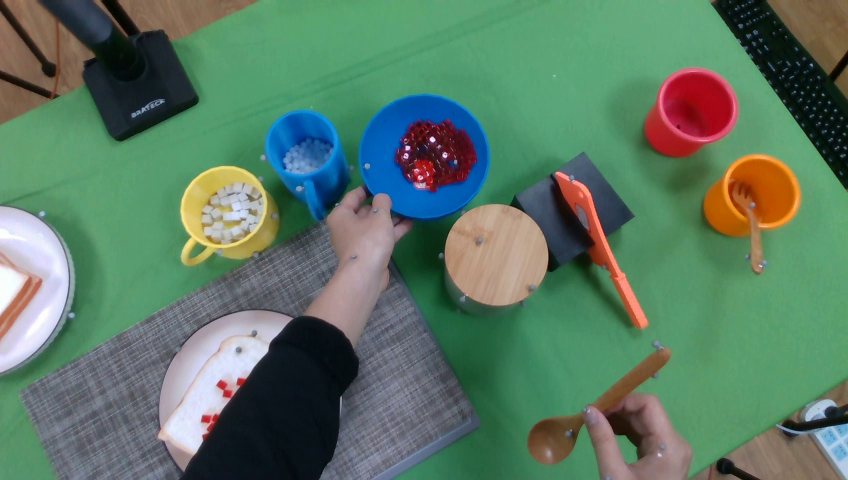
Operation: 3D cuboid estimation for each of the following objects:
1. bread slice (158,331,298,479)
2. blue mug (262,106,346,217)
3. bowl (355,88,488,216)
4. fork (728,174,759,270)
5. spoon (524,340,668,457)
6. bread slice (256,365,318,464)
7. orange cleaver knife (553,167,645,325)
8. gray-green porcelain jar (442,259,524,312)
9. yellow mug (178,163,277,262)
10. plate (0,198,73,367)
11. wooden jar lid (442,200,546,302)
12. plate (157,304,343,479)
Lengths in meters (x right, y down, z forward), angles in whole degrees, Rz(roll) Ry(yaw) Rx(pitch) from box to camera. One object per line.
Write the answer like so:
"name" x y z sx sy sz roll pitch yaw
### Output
"bread slice" -0.199 0.165 0.640 0.107 0.018 0.134 25 72 -2
"blue mug" -0.138 -0.085 0.725 0.082 0.106 0.116 -9 78 -2
"bowl" -0.003 -0.093 0.718 0.151 0.077 0.150 0 78 -1
"fork" 0.368 -0.025 0.695 0.028 0.019 0.206 33 35 0
"spoon" 0.146 0.142 0.528 0.021 0.194 0.041 -27 69 -41
"bread slice" -0.199 0.191 0.698 0.104 0.019 0.131 26 76 7
"orange cleaver knife" 0.207 0.008 0.720 0.012 0.076 0.212 -31 106 -7
"gray-green porcelain jar" 0.073 0.026 0.692 0.106 0.127 0.105 0 78 0
"yellow mug" -0.245 -0.024 0.730 0.099 0.064 0.130 38 81 7
"plate" -0.521 0.054 0.724 0.208 0.039 0.206 0 78 -1
"wooden jar lid" 0.072 0.012 0.631 0.108 0.021 0.108 1 79 -3
"plate" -0.196 0.178 0.697 0.209 0.038 0.208 0 78 -1
